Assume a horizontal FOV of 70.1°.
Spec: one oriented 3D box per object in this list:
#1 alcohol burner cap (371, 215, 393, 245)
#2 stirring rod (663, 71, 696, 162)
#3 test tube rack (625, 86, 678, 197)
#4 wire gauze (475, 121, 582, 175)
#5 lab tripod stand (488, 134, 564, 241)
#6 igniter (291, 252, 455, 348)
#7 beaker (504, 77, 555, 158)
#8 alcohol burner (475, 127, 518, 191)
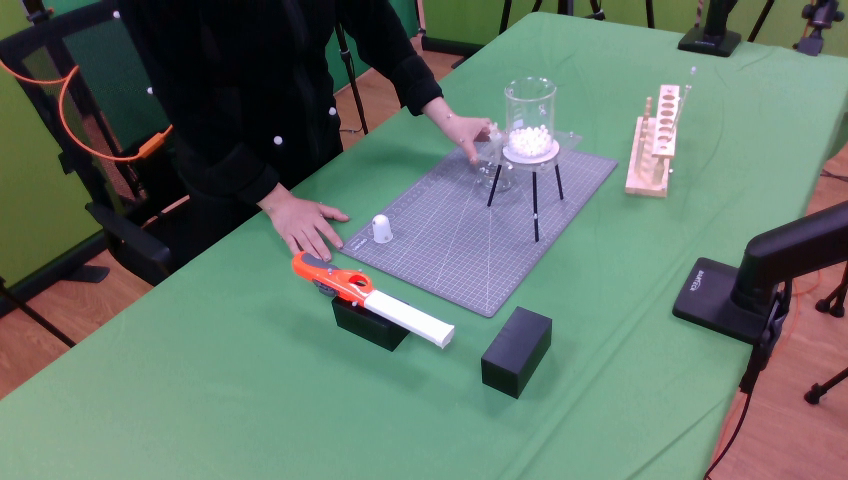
[{"bbox_3d":[-0.070,-0.019,0.990,0.034,0.048,0.033,-4,40,4],"label":"alcohol burner cap"},{"bbox_3d":[0.410,-0.195,0.981,0.014,0.177,0.006,12,50,14],"label":"stirring rod"},{"bbox_3d":[0.412,-0.184,1.088,0.066,0.085,0.242,9,43,18],"label":"test tube rack"},{"bbox_3d":[0.162,-0.142,0.929,0.120,0.011,0.125,19,49,32],"label":"wire gauze"},{"bbox_3d":[0.168,-0.092,0.972,0.148,0.132,0.147,-5,41,5],"label":"lab tripod stand"},{"bbox_3d":[-0.080,0.076,0.822,0.274,0.025,0.057,23,45,27],"label":"igniter"},{"bbox_3d":[0.160,-0.181,0.900,0.084,0.101,0.073,-33,46,-27],"label":"beaker"},{"bbox_3d":[0.126,-0.146,1.056,0.078,0.119,0.077,-5,42,5],"label":"alcohol burner"}]
